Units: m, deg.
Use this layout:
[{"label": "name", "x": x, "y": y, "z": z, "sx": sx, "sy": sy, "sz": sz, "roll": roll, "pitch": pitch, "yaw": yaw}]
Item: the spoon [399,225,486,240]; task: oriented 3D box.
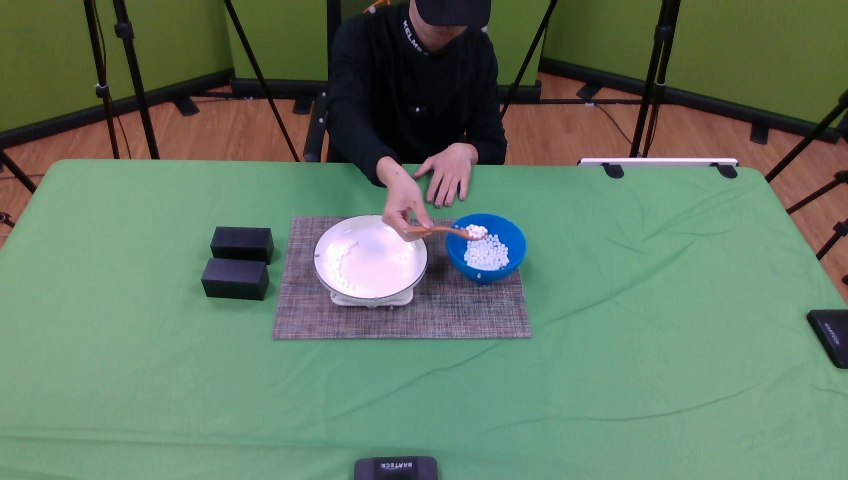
[{"label": "spoon", "x": 0.035, "y": -0.017, "z": 1.069, "sx": 0.194, "sy": 0.022, "sz": 0.041, "roll": 5, "pitch": 31, "yaw": -40}]

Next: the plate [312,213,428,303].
[{"label": "plate", "x": -0.097, "y": 0.036, "z": 1.100, "sx": 0.209, "sy": 0.038, "sz": 0.208, "roll": 2, "pitch": 46, "yaw": -2}]

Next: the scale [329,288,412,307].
[{"label": "scale", "x": -0.098, "y": 0.042, "z": 1.139, "sx": 0.149, "sy": 0.032, "sz": 0.199, "roll": 1, "pitch": 46, "yaw": -4}]

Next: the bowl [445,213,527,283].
[{"label": "bowl", "x": 0.111, "y": 0.028, "z": 1.137, "sx": 0.151, "sy": 0.077, "sz": 0.150, "roll": 2, "pitch": 46, "yaw": -2}]
